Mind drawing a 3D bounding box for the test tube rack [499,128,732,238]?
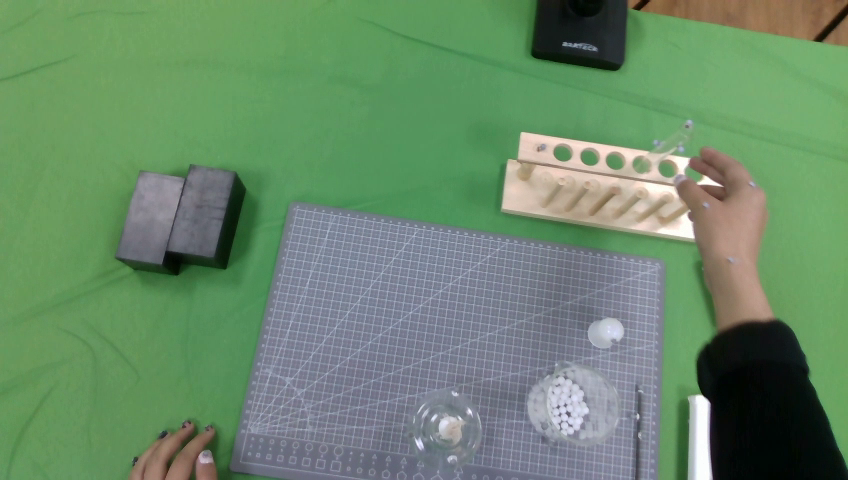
[{"bbox_3d":[0.216,-0.063,0.701,0.242,0.085,0.066,9,74,-2],"label":"test tube rack"}]

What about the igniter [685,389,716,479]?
[{"bbox_3d":[0.287,0.298,0.636,0.057,0.025,0.275,12,74,-11],"label":"igniter"}]

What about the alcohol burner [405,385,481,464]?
[{"bbox_3d":[0.021,0.182,0.601,0.078,0.119,0.077,1,72,-3],"label":"alcohol burner"}]

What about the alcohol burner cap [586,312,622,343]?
[{"bbox_3d":[0.203,0.096,0.676,0.034,0.048,0.033,1,74,-3],"label":"alcohol burner cap"}]

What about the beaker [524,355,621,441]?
[{"bbox_3d":[0.145,0.163,0.623,0.074,0.100,0.083,-23,76,-10],"label":"beaker"}]

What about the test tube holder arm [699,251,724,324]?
[{"bbox_3d":[0.341,0.056,0.713,0.010,0.015,0.087,-17,75,27],"label":"test tube holder arm"}]

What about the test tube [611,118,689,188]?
[{"bbox_3d":[0.241,-0.090,0.659,0.017,0.151,0.017,3,72,-8],"label":"test tube"}]

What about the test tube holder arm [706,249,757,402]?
[{"bbox_3d":[0.354,0.097,0.700,0.013,0.015,0.177,-19,74,27],"label":"test tube holder arm"}]

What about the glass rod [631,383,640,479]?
[{"bbox_3d":[0.225,0.255,0.650,0.008,0.008,0.198,9,74,-2],"label":"glass rod"}]
